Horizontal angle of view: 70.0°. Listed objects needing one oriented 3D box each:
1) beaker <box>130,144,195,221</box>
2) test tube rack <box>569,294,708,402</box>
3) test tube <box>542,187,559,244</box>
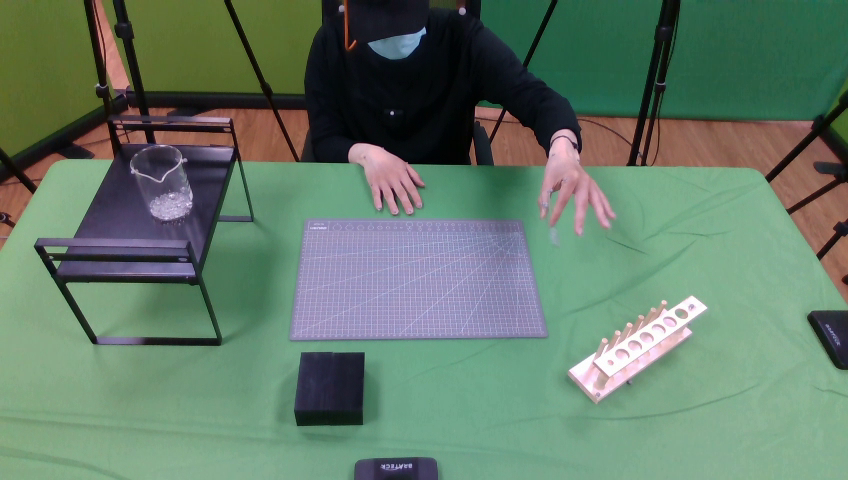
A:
[{"bbox_3d":[-0.403,-0.085,0.944,0.074,0.101,0.083,-15,50,-17],"label":"beaker"},{"bbox_3d":[0.360,0.167,1.014,0.242,0.085,0.066,-25,53,-25],"label":"test tube rack"},{"bbox_3d":[0.217,-0.038,1.039,0.017,0.151,0.017,-9,54,12],"label":"test tube"}]
